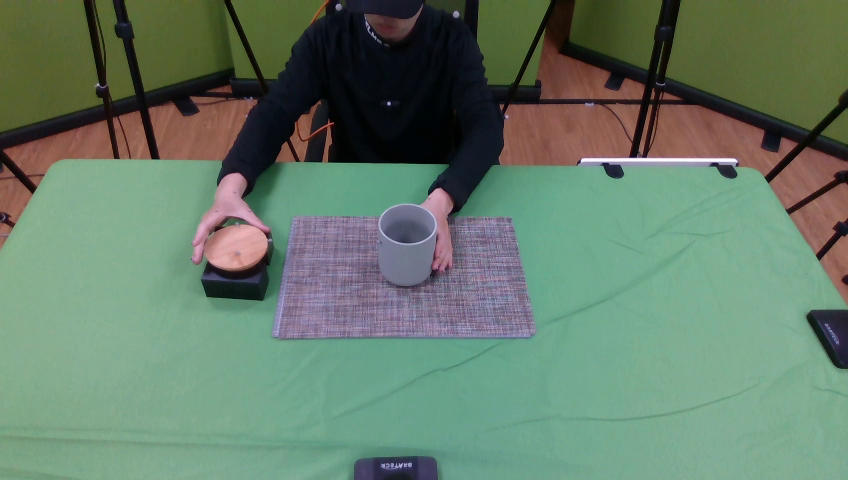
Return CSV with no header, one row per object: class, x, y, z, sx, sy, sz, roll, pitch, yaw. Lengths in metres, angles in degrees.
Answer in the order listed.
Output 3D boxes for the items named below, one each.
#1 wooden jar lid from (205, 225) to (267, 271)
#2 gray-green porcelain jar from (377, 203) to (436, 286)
wooden jar lid,-0.337,0.016,1.091,0.108,0.021,0.107,2,45,-2
gray-green porcelain jar,-0.033,0.014,1.106,0.106,0.127,0.105,2,46,-2
